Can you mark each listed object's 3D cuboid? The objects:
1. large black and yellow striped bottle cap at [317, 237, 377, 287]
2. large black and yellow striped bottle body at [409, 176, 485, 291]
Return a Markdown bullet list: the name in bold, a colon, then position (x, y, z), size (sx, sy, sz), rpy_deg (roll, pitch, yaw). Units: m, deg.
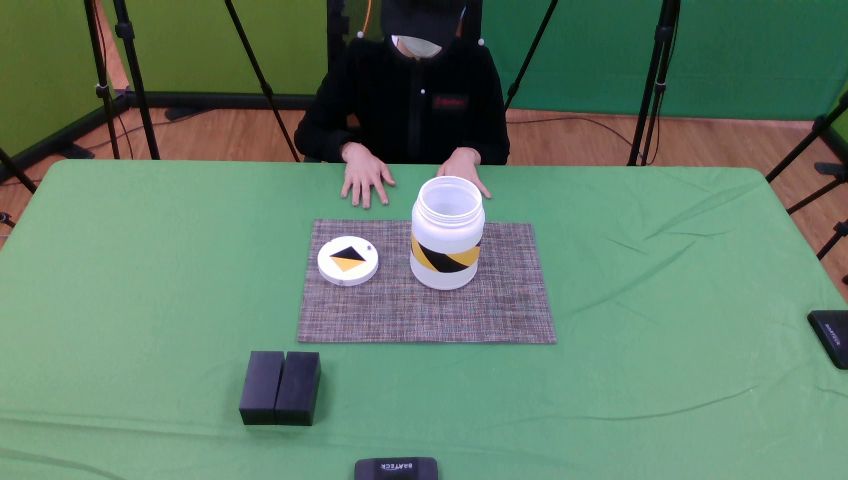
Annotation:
- **large black and yellow striped bottle cap**: position (-0.146, 0.040, 1.148), size (0.115, 0.019, 0.114), rpy_deg (2, 47, -2)
- **large black and yellow striped bottle body**: position (0.040, -0.012, 1.095), size (0.131, 0.185, 0.130), rpy_deg (2, 46, -2)
